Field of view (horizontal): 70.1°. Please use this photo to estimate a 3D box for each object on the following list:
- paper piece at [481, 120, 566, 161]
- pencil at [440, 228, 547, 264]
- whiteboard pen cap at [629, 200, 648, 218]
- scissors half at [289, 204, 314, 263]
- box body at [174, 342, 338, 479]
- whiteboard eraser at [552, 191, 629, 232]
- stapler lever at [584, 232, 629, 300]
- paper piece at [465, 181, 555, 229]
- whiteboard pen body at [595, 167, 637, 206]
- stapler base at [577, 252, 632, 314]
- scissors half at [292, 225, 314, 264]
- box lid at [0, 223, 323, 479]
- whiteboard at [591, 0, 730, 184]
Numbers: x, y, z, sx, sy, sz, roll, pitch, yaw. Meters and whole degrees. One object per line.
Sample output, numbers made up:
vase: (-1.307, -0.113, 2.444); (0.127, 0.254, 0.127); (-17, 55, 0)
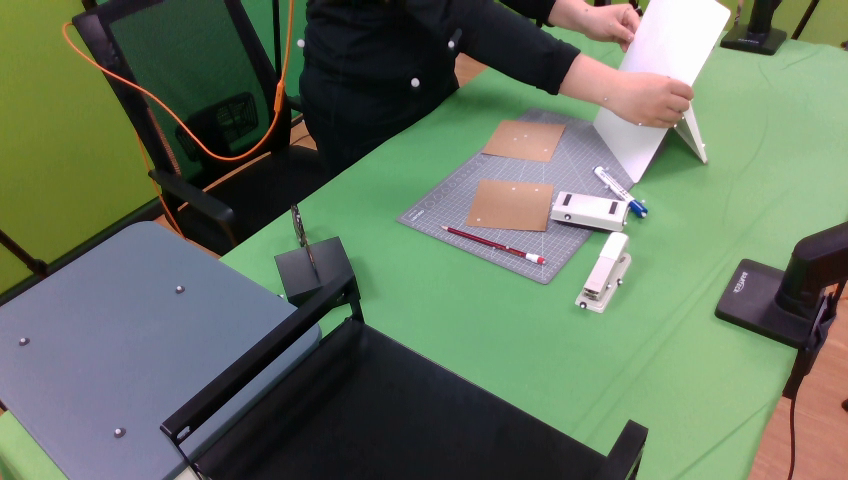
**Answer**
paper piece: (0.198, -0.199, 1.188); (0.135, 0.004, 0.135); (11, 44, 21)
pencil: (0.105, 0.007, 0.957); (0.192, 0.012, 0.012); (18, 46, 30)
whiteboard pen cap: (0.348, -0.052, 0.983); (0.018, 0.018, 0.033); (-18, 42, -12)
scissors half: (-0.191, -0.010, 0.945); (0.013, 0.040, 0.173); (-14, 37, -16)
box body: (-0.311, 0.165, 0.720); (0.361, 0.161, 0.255); (23, 49, 32)
whiteboard eraser: (0.266, -0.043, 0.967); (0.112, 0.042, 0.055); (11, 42, 21)
stapler lever: (0.261, 0.034, 0.858); (0.026, 0.040, 0.118); (16, 46, 30)
paper piece: (0.149, -0.062, 1.034); (0.137, 0.009, 0.136); (4, 37, 17)
whiteboard pen body: (0.331, -0.085, 1.026); (0.017, 0.017, 0.139); (-16, 41, -10)
stapler base: (0.264, 0.051, 0.875); (0.041, 0.024, 0.131); (16, 47, 29)
scissors half: (-0.188, 0.007, 0.954); (0.013, 0.040, 0.174); (-19, 21, -13)
box lid: (-0.318, 0.109, 0.671); (0.368, 0.015, 0.264); (24, 49, 31)
whiteboard: (0.451, -0.269, 1.054); (0.144, 0.305, 0.216); (7, 37, -14)
